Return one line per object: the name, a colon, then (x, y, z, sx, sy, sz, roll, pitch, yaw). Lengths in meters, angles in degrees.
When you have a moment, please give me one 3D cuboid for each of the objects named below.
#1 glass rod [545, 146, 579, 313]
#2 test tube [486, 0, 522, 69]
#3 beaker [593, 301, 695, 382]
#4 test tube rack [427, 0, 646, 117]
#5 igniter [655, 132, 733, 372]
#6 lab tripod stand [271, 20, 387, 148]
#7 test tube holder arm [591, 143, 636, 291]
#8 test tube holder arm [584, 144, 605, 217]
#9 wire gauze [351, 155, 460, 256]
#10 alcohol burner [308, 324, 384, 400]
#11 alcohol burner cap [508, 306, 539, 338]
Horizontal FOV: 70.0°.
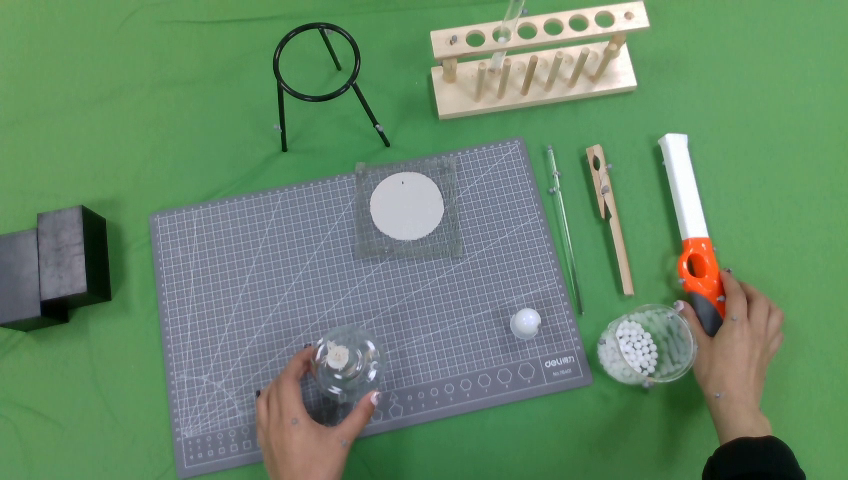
glass rod: (0.159, -0.015, 0.696, 0.008, 0.008, 0.198, -7, 77, -1)
test tube: (0.088, -0.232, 0.664, 0.017, 0.151, 0.017, 1, 75, -4)
beaker: (0.215, 0.106, 0.617, 0.084, 0.101, 0.073, 19, 75, 7)
test tube rack: (0.129, -0.210, 0.710, 0.242, 0.085, 0.066, -9, 75, -1)
igniter: (0.301, 0.007, 0.679, 0.057, 0.025, 0.275, 0, 73, -19)
lab tripod stand: (-0.113, -0.165, 0.676, 0.148, 0.132, 0.147, 0, 77, 1)
test tube holder arm: (0.215, -0.028, 0.692, 0.013, 0.015, 0.177, -21, 72, 32)
test tube holder arm: (0.202, -0.069, 0.707, 0.010, 0.015, 0.087, -19, 73, 33)
wire gauze: (-0.022, -0.040, 0.704, 0.125, 0.011, 0.121, -1, 76, 0)
alcohol burner: (-0.081, 0.120, 0.607, 0.078, 0.120, 0.077, -1, 74, 3)
alcohol burner cap: (0.108, 0.085, 0.650, 0.034, 0.048, 0.033, 0, 74, 1)
